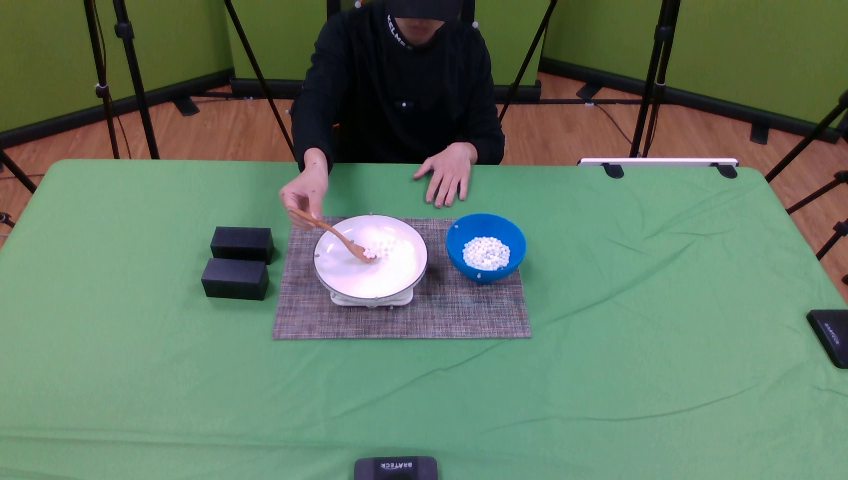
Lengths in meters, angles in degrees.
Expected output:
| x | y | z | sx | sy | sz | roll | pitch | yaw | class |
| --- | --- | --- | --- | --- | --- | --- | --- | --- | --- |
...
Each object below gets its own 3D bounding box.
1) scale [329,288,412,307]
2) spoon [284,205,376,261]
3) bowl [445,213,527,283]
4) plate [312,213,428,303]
| x | y | z | sx | sy | sz | roll | pitch | yaw | class |
| --- | --- | --- | --- | --- | --- | --- | --- | --- | --- |
| -0.098 | 0.042 | 1.139 | 0.149 | 0.032 | 0.199 | 1 | 46 | -4 | scale |
| -0.161 | -0.013 | 1.056 | 0.021 | 0.195 | 0.041 | -42 | 33 | 17 | spoon |
| 0.111 | 0.027 | 1.137 | 0.151 | 0.077 | 0.150 | 2 | 46 | -2 | bowl |
| -0.097 | 0.035 | 1.100 | 0.209 | 0.038 | 0.208 | 2 | 46 | -1 | plate |
